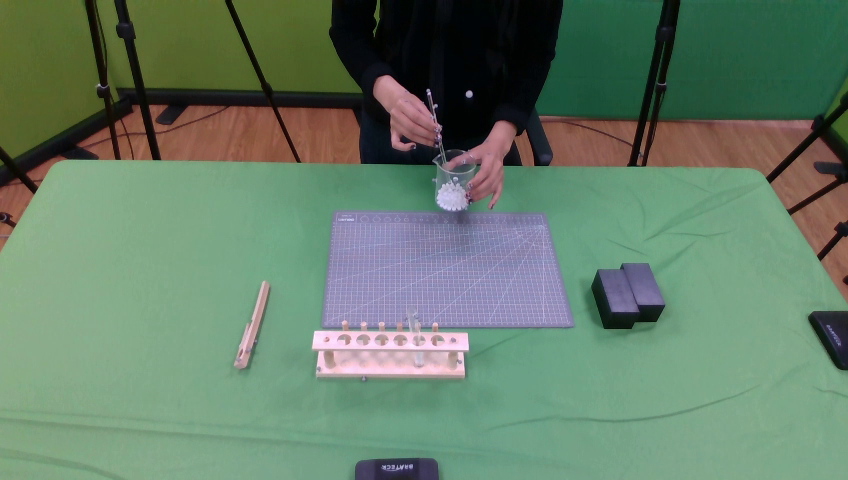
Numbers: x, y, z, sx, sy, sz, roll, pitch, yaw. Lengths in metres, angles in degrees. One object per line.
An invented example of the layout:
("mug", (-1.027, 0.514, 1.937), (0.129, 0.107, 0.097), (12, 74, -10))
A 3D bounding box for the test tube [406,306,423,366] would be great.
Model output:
("test tube", (-0.013, 0.152, 0.939), (0.017, 0.151, 0.017), (-3, 48, 3))

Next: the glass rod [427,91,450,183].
("glass rod", (0.028, -0.181, 1.090), (0.008, 0.201, 0.008), (-8, 44, 8))

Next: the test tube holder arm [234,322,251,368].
("test tube holder arm", (-0.299, 0.173, 1.013), (0.010, 0.015, 0.087), (-17, 41, 22))

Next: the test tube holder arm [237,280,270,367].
("test tube holder arm", (-0.291, 0.140, 1.042), (0.013, 0.015, 0.177), (-17, 41, 22))

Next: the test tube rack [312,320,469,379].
("test tube rack", (-0.054, 0.173, 0.984), (0.242, 0.085, 0.066), (1, 46, -3))

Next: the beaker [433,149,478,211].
("beaker", (0.055, -0.111, 1.149), (0.084, 0.101, 0.073), (10, 45, 6))
